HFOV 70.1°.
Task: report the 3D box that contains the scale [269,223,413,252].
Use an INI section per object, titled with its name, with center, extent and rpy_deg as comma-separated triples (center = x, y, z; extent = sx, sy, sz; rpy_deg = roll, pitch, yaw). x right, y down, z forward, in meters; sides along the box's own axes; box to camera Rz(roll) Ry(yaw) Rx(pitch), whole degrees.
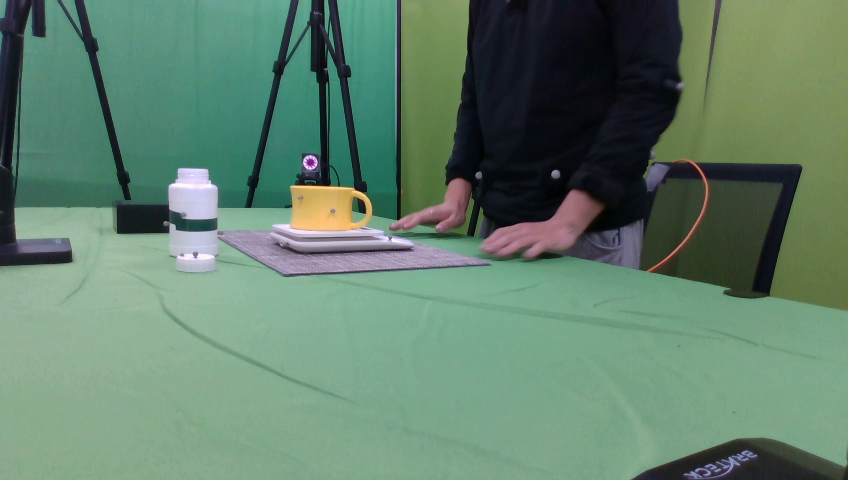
[scale]
center = -0.132, -0.007, 0.965
extent = 0.202, 0.031, 0.148
rpy_deg = -2, 8, -31

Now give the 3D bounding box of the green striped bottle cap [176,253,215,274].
[green striped bottle cap]
center = -0.279, 0.028, 0.741
extent = 0.044, 0.020, 0.044
rpy_deg = 5, 5, 0

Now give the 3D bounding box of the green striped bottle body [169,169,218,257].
[green striped bottle body]
center = -0.318, -0.038, 0.836
extent = 0.063, 0.119, 0.063
rpy_deg = 2, 7, 0

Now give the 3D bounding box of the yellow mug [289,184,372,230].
[yellow mug]
center = -0.145, -0.052, 0.944
extent = 0.131, 0.064, 0.100
rpy_deg = 4, 7, 9
